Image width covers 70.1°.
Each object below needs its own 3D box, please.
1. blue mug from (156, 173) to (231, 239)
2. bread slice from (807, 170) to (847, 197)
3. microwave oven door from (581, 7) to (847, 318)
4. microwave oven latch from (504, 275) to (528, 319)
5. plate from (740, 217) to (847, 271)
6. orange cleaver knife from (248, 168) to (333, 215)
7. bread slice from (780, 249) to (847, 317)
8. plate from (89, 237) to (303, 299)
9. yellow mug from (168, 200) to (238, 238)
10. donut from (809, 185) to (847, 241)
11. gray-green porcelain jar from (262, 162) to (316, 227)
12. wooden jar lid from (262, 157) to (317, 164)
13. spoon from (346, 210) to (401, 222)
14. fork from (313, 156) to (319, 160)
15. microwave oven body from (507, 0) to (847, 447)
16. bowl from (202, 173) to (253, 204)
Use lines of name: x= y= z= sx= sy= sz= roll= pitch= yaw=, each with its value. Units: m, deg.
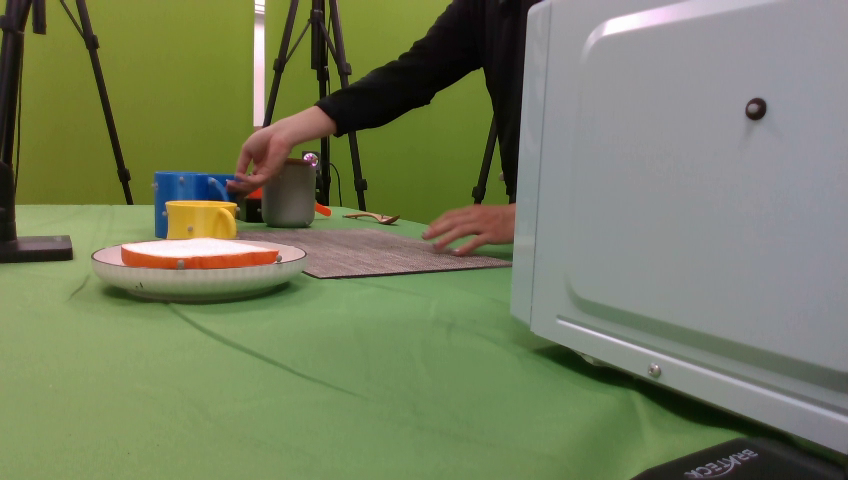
blue mug: x=-0.380 y=-0.057 z=1.004 sx=0.117 sy=0.106 sz=0.082 roll=1 pitch=7 yaw=-11
bread slice: x=0.365 y=-0.051 z=0.453 sx=0.135 sy=0.018 sz=0.106 roll=-10 pitch=1 yaw=-23
microwave oven door: x=0.295 y=-0.067 z=0.569 sx=0.358 sy=0.243 sz=0.039 roll=-3 pitch=8 yaw=-31
microwave oven latch: x=0.100 y=0.041 z=0.470 sx=0.079 sy=0.029 sz=0.030 roll=-1 pitch=7 yaw=-27
plate: x=0.358 y=0.002 z=0.464 sx=0.209 sy=0.038 sz=0.209 roll=0 pitch=4 yaw=0
orange cleaver knife: x=-0.300 y=-0.089 z=1.351 sx=0.212 sy=0.077 sz=0.012 roll=28 pitch=-9 yaw=-34
bread slice: x=0.369 y=0.024 z=0.476 sx=0.132 sy=0.019 sz=0.104 roll=-24 pitch=10 yaw=-9
plate: x=-0.233 y=0.029 z=0.636 sx=0.208 sy=0.039 sz=0.207 roll=2 pitch=7 yaw=0
yellow mug: x=-0.320 y=-0.023 z=0.904 sx=0.130 sy=0.064 sz=0.100 roll=9 pitch=10 yaw=36
donut: x=0.352 y=-0.024 z=0.463 sx=0.099 sy=0.048 sz=0.099 roll=-10 pitch=4 yaw=1
gray-green porcelain jar: x=-0.271 y=-0.092 z=1.217 sx=0.106 sy=0.126 sz=0.106 roll=2 pitch=7 yaw=0
wooden jar lid: x=-0.269 y=-0.154 z=1.208 sx=0.108 sy=0.020 sz=0.108 roll=3 pitch=4 yaw=0
spoon: x=-0.121 y=-0.059 z=1.400 sx=0.042 sy=0.021 sz=0.192 roll=-27 pitch=24 yaw=-38
fork: x=-0.331 y=-0.144 z=1.506 sx=0.207 sy=0.018 sz=0.028 roll=-42 pitch=-19 yaw=22
microwave oven body: x=0.331 y=-0.042 z=0.425 sx=0.444 sy=0.260 sz=0.324 roll=-2 pitch=8 yaw=-31
bowl: x=-0.399 y=-0.086 z=1.135 sx=0.151 sy=0.077 sz=0.151 roll=0 pitch=7 yaw=0
